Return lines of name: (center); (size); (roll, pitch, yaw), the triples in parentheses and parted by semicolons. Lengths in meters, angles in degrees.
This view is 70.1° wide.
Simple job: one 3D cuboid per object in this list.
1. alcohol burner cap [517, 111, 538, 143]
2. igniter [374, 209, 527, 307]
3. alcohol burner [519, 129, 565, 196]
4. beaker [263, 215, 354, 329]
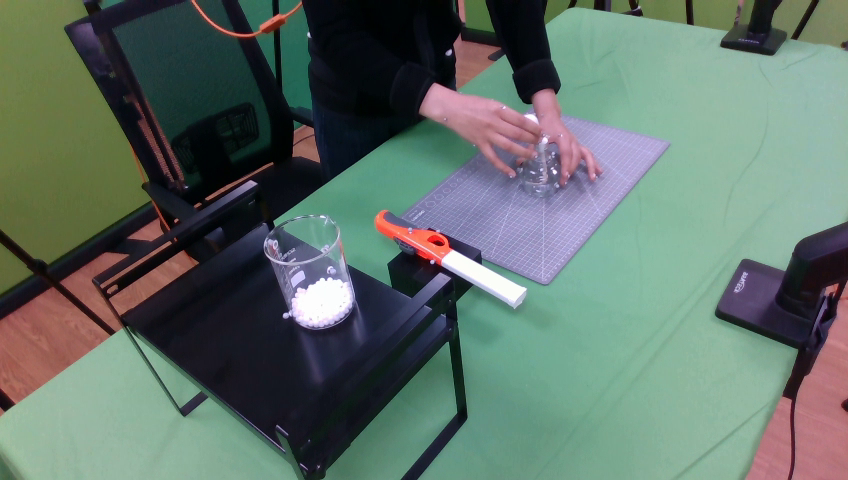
alcohol burner cap: (0.163, -0.182, 0.958); (0.034, 0.048, 0.033); (-6, 43, 6)
igniter: (0.027, 0.019, 0.873); (0.274, 0.025, 0.057); (29, 52, 31)
alcohol burner: (0.200, -0.135, 1.027); (0.078, 0.119, 0.077); (-5, 41, 5)
beaker: (-0.112, 0.034, 0.616); (0.073, 0.101, 0.084); (13, 44, 23)
